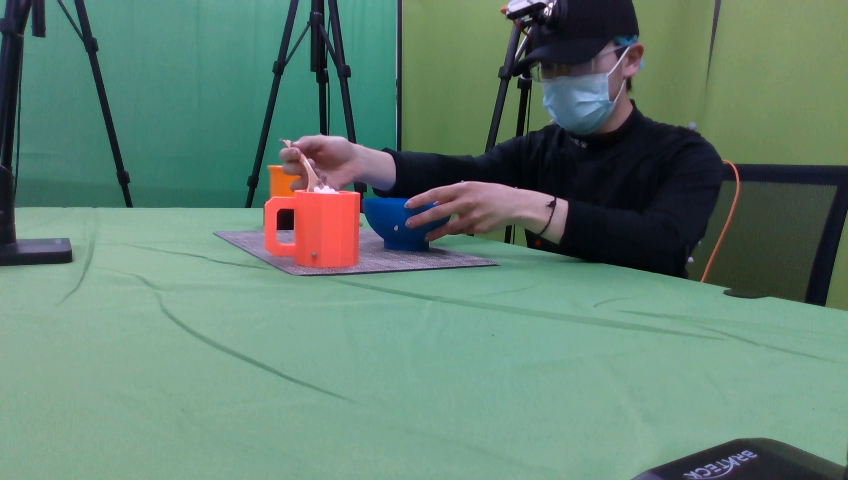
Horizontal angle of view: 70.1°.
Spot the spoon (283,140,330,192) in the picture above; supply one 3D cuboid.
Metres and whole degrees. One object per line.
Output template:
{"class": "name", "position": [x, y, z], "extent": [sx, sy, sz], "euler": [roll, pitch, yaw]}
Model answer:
{"class": "spoon", "position": [-0.164, -0.100, 0.844], "extent": [0.042, 0.021, 0.193], "euler": [2, 34, -32]}

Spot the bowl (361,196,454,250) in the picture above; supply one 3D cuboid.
{"class": "bowl", "position": [-0.028, -0.028, 0.983], "extent": [0.151, 0.077, 0.151], "euler": [3, 7, 0]}

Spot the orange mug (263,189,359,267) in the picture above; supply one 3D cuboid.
{"class": "orange mug", "position": [-0.147, -0.019, 0.794], "extent": [0.127, 0.100, 0.083], "euler": [4, 6, -19]}
